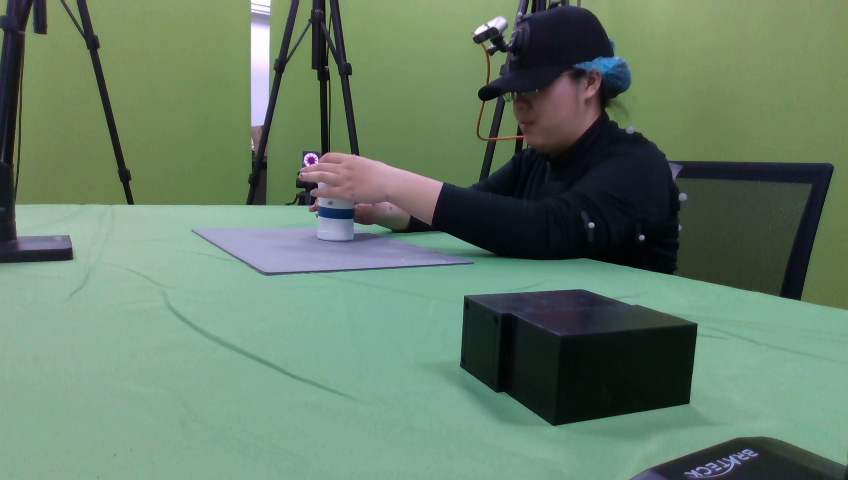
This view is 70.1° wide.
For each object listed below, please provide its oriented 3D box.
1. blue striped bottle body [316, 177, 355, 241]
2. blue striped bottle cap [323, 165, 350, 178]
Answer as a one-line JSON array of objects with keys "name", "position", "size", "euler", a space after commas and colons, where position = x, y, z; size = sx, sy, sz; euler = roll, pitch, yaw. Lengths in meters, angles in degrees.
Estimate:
[{"name": "blue striped bottle body", "position": [-0.149, -0.061, 1.024], "size": [0.063, 0.120, 0.063], "euler": [3, 8, 0]}, {"name": "blue striped bottle cap", "position": [-0.147, -0.116, 1.017], "size": [0.044, 0.020, 0.044], "euler": [4, 8, 0]}]
